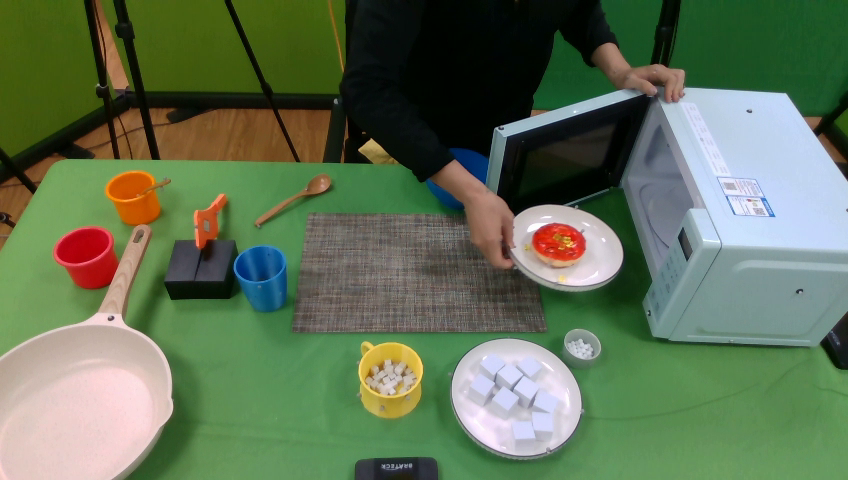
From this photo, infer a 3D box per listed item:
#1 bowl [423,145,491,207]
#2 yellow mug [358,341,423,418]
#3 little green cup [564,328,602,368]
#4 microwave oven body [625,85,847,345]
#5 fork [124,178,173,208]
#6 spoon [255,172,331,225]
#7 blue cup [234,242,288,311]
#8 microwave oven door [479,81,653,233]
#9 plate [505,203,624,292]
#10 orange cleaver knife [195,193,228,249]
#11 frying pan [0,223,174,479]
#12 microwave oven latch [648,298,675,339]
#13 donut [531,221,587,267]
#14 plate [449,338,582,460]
[{"bbox_3d":[0.073,-0.123,1.278,0.151,0.077,0.150,2,46,-2],"label":"bowl"},{"bbox_3d":[-0.062,0.210,0.961,0.100,0.064,0.130,-29,54,-27],"label":"yellow mug"},{"bbox_3d":[0.266,0.185,1.025,0.061,0.039,0.061,2,43,-2],"label":"little green cup"},{"bbox_3d":[0.568,-0.054,1.116,0.326,0.261,0.439,2,46,-1],"label":"microwave oven body"},{"bbox_3d":[-0.525,-0.090,1.154,0.207,0.019,0.028,-17,27,45],"label":"fork"},{"bbox_3d":[-0.272,-0.087,1.257,0.041,0.022,0.193,42,57,18],"label":"spoon"},{"bbox_3d":[-0.276,0.072,1.052,0.092,0.101,0.092,1,48,-1],"label":"blue cup"},{"bbox_3d":[0.279,-0.164,1.193,0.356,0.245,0.039,-20,51,-21],"label":"microwave oven door"},{"bbox_3d":[0.244,0.016,1.067,0.209,0.038,0.208,3,44,-3],"label":"plate"},{"bbox_3d":[-0.406,-0.041,1.163,0.012,0.077,0.210,0,18,-3],"label":"orange cleaver knife"},{"bbox_3d":[-0.505,0.169,0.941,0.307,0.103,0.485,5,54,-1],"label":"frying pan"},{"bbox_3d":[0.413,0.133,1.060,0.030,0.029,0.078,5,46,3],"label":"microwave oven latch"},{"bbox_3d":[0.236,0.005,1.061,0.099,0.048,0.098,1,42,-1],"label":"donut"},{"bbox_3d":[0.141,0.251,0.955,0.208,0.039,0.206,2,47,-2],"label":"plate"}]
